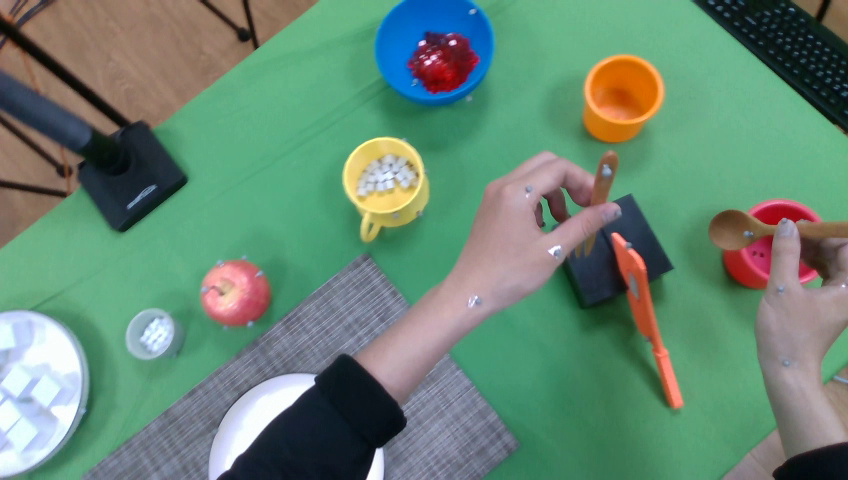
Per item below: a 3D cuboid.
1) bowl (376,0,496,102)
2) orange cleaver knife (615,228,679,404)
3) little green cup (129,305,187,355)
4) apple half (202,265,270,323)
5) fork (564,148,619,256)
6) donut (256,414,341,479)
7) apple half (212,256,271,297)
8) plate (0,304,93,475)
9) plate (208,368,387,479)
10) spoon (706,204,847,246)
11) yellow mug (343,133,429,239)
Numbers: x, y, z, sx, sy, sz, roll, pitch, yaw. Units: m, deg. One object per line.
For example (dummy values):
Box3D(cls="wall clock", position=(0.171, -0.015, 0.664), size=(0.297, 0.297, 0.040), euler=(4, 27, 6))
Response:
Box3D(cls="bowl", position=(0.019, -0.240, 0.790), size=(0.151, 0.077, 0.150), euler=(-1, 77, 6))
Box3D(cls="orange cleaver knife", position=(0.250, 0.087, 0.685), size=(0.012, 0.076, 0.212), euler=(-20, 108, 3))
Box3D(cls="little green cup", position=(-0.333, 0.115, 0.763), size=(0.061, 0.039, 0.061), euler=(-1, 76, 6))
Box3D(cls="apple half", position=(-0.236, 0.073, 0.746), size=(0.080, 0.075, 0.053), euler=(30, 86, 8))
Box3D(cls="fork", position=(0.133, -0.022, 0.485), size=(0.028, 0.208, 0.018), euler=(-3, 73, 7))
Box3D(cls="donut", position=(-0.144, 0.251, 0.696), size=(0.099, 0.048, 0.098), euler=(-1, 79, 6))
Box3D(cls="apple half", position=(-0.217, 0.040, 0.750), size=(0.081, 0.081, 0.033), euler=(30, 85, 12))
Box3D(cls="plate", position=(-0.514, 0.186, 0.765), size=(0.207, 0.039, 0.206), euler=(-1, 77, 6))
Box3D(cls="plate", position=(-0.145, 0.255, 0.706), size=(0.209, 0.038, 0.208), euler=(-1, 77, 6))
Box3D(cls="spoon", position=(0.308, -0.012, 0.523), size=(0.022, 0.193, 0.041), euler=(-1, 92, -6))
Box3D(cls="yellow mug", position=(-0.051, -0.062, 0.762), size=(0.099, 0.064, 0.130), euler=(18, 80, 9))
